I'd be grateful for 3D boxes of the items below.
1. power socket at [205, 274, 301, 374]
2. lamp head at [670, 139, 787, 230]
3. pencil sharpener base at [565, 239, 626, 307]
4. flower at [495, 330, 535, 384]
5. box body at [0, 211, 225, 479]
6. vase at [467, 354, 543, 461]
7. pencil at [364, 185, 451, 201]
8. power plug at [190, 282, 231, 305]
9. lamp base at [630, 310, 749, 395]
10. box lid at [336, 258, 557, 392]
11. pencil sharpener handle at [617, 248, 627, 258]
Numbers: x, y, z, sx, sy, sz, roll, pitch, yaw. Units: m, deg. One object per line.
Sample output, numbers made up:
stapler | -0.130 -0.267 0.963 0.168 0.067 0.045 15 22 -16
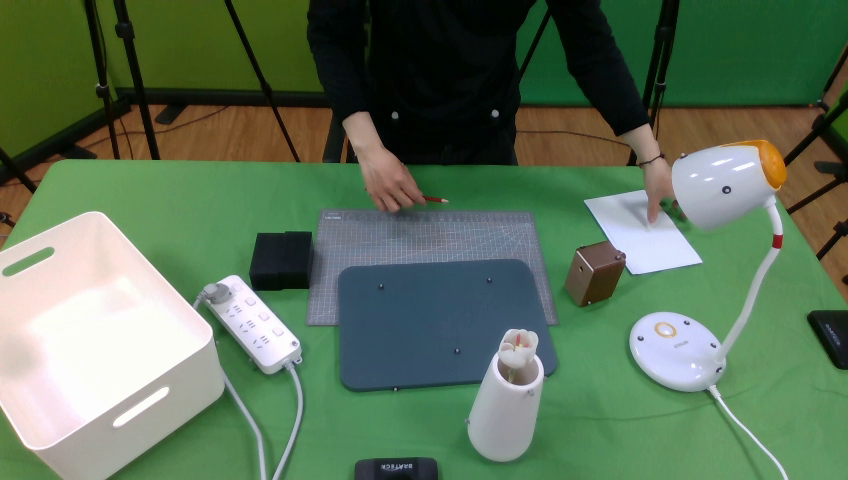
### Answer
power socket | -0.296 0.140 1.035 0.072 0.033 0.225 -32 57 -29
lamp head | 0.415 -0.079 0.812 0.113 0.123 0.112 12 70 -37
pencil sharpener base | 0.313 0.060 1.104 0.077 0.107 0.061 -15 49 -18
flower | 0.111 0.187 0.791 0.044 0.363 0.038 -32 65 -10
box body | -0.504 0.154 0.916 0.362 0.161 0.254 36 54 27
vase | 0.116 0.234 0.861 0.098 0.201 0.097 1 47 -1
pencil | -0.035 -0.093 1.214 0.193 0.012 0.012 11 45 23
power plug | -0.368 0.097 1.039 0.072 0.053 0.035 -26 55 -20
lamp base | 0.447 0.143 0.984 0.161 0.181 0.178 -24 55 -24
box lid | 0.030 0.140 1.073 0.372 0.015 0.261 -3 47 -7
pencil sharpener handle | 0.359 0.036 1.113 0.031 0.068 0.036 -15 61 -18
